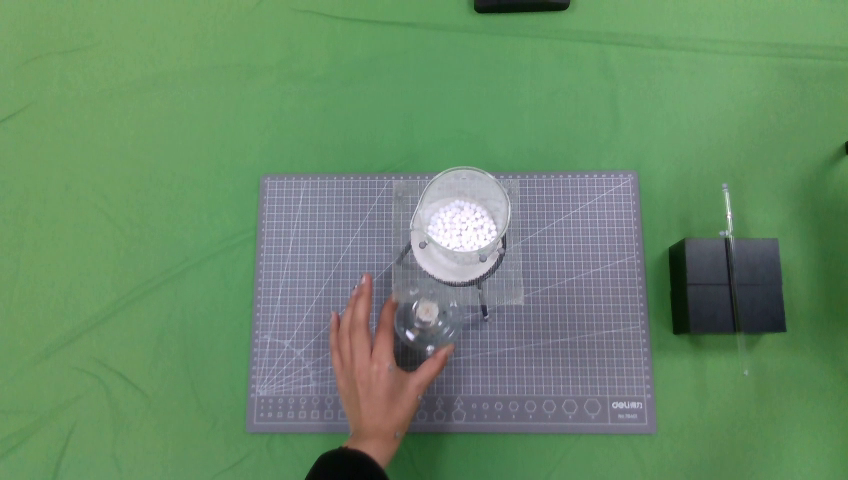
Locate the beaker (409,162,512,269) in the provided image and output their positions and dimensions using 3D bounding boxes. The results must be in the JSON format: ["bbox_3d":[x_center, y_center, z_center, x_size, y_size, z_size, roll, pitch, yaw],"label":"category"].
[{"bbox_3d":[0.030,-0.015,0.526,0.084,0.100,0.073,-16,78,-1],"label":"beaker"}]

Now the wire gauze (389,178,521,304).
[{"bbox_3d":[0.030,-0.001,0.572,0.125,0.011,0.121,1,79,-1],"label":"wire gauze"}]

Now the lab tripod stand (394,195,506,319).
[{"bbox_3d":[0.036,0.009,0.637,0.148,0.132,0.147,-1,77,3],"label":"lab tripod stand"}]

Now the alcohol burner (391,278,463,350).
[{"bbox_3d":[0.003,0.076,0.636,0.078,0.119,0.077,0,80,1],"label":"alcohol burner"}]

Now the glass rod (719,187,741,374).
[{"bbox_3d":[0.324,0.040,0.641,0.008,0.008,0.199,0,79,2],"label":"glass rod"}]
